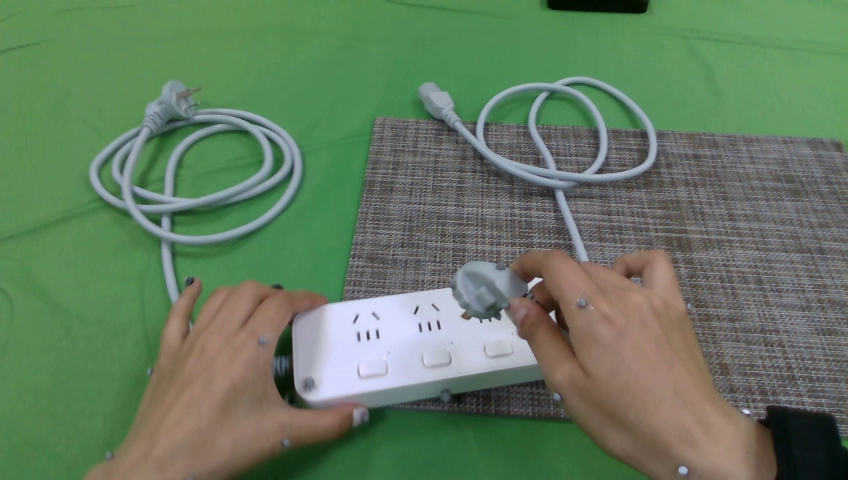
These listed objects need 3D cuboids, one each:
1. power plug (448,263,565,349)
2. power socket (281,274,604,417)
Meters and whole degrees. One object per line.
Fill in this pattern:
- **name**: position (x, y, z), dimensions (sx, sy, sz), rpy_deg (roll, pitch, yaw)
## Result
- **power plug**: position (0.042, 0.046, 0.363), dimensions (0.035, 0.053, 0.072), rpy_deg (-19, 71, -34)
- **power socket**: position (0.016, 0.071, 0.419), dimensions (0.227, 0.033, 0.071), rpy_deg (-7, 51, -7)
